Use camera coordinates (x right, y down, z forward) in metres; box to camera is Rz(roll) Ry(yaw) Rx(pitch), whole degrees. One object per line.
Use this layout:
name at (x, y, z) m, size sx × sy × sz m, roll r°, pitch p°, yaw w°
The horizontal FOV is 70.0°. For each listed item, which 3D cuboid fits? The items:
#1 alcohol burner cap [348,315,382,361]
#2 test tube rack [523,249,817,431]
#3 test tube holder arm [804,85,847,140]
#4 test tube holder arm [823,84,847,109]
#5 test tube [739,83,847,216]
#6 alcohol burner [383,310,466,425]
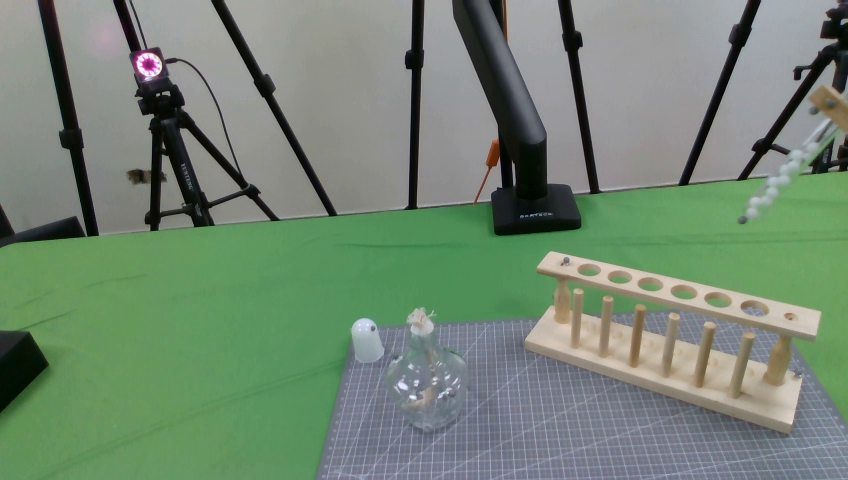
alcohol burner cap at (-0.064, 0.101, 0.644) m, size 0.034 × 0.048 × 0.033 m, roll -4°, pitch 33°, yaw 3°
test tube rack at (0.215, 0.084, 0.567) m, size 0.240 × 0.086 × 0.066 m, roll 14°, pitch 38°, yaw 32°
test tube holder arm at (0.292, -0.069, 0.403) m, size 0.010 × 0.015 × 0.087 m, roll -22°, pitch 65°, yaw -37°
test tube holder arm at (0.319, -0.036, 0.389) m, size 0.013 × 0.015 × 0.177 m, roll -15°, pitch 61°, yaw -34°
test tube at (0.276, -0.075, 0.424) m, size 0.017 × 0.151 × 0.017 m, roll 19°, pitch 36°, yaw -14°
alcohol burner at (-0.001, 0.110, 0.547) m, size 0.078 × 0.120 × 0.077 m, roll -4°, pitch 33°, yaw 3°
